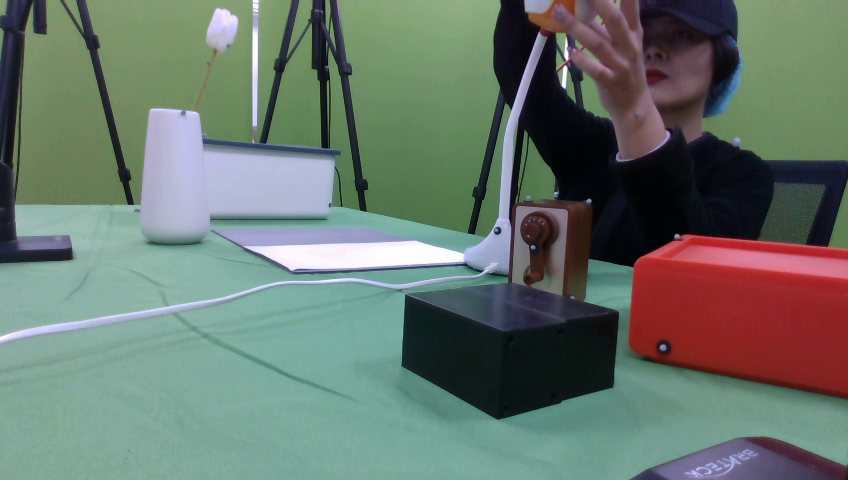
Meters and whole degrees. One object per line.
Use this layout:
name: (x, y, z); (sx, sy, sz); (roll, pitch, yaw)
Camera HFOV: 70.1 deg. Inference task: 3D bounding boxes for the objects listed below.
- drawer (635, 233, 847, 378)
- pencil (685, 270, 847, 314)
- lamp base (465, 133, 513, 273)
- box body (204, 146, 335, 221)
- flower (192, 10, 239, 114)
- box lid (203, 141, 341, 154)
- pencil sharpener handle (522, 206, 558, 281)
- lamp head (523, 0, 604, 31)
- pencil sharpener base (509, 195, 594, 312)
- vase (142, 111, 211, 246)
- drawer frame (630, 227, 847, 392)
drawer: (0.292, 0.045, 0.488); (0.193, 0.073, 0.213); (7, 9, 30)
pencil: (0.308, 0.046, 0.516); (0.194, 0.012, 0.012); (13, 5, -12)
lamp base: (0.133, -0.052, 0.809); (0.160, 0.180, 0.180); (6, 12, 26)
box body: (-0.411, -0.135, 1.386); (0.366, 0.160, 0.253); (-2, 9, -29)
flower: (-0.354, -0.174, 0.915); (0.038, 0.361, 0.044); (18, -3, 12)
box lid: (-0.396, -0.212, 1.373); (0.373, 0.015, 0.262); (-1, 9, -29)
pencil sharpener handle: (0.102, 0.003, 0.555); (0.036, 0.067, 0.031); (0, 5, 31)
lamp head: (0.149, -0.282, 0.630); (0.112, 0.123, 0.112); (13, 18, -4)
pencil sharpener base: (0.126, 0.011, 0.601); (0.061, 0.107, 0.077); (7, 9, 30)
vase: (-0.378, -0.093, 0.920); (0.098, 0.200, 0.098); (2, 9, 0)
drawer frame: (0.292, 0.043, 0.484); (0.201, 0.082, 0.214); (7, 9, 29)
